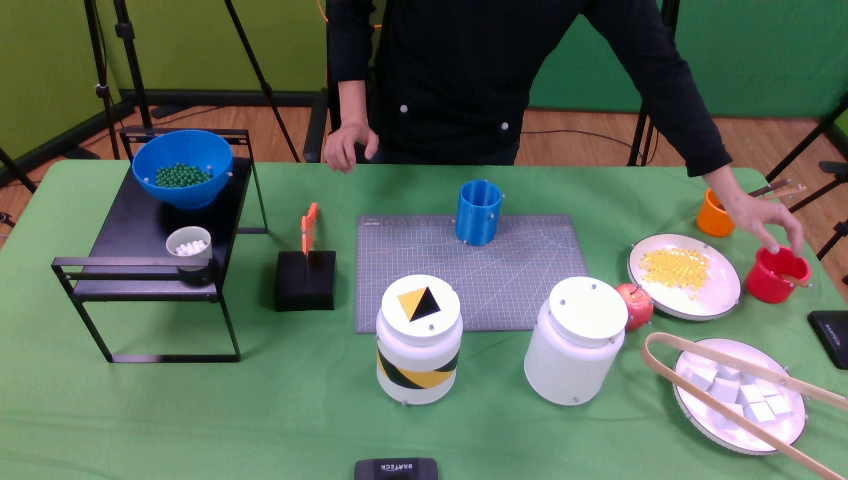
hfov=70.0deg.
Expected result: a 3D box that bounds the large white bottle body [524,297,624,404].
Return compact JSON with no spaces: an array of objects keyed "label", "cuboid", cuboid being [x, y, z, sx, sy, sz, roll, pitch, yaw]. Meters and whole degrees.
[{"label":"large white bottle body","cuboid":[0.235,0.159,0.952,0.131,0.185,0.130,2,47,-2]}]

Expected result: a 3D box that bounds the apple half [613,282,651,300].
[{"label":"apple half","cuboid":[0.356,0.109,1.086,0.081,0.075,0.053,-14,44,-12]}]

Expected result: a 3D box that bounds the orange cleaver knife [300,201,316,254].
[{"label":"orange cleaver knife","cuboid":[-0.221,-0.027,1.160,0.012,0.077,0.210,-1,15,-4]}]

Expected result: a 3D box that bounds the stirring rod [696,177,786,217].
[{"label":"stirring rod","cuboid":[0.648,-0.087,1.244,0.176,0.006,0.014,-25,51,29]}]

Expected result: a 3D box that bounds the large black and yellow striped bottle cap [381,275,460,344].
[{"label":"large black and yellow striped bottle cap","cuboid":[-0.005,0.098,0.874,0.115,0.019,0.114,2,45,-2]}]

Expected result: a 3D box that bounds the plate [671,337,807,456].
[{"label":"plate","cuboid":[0.503,0.254,0.984,0.208,0.039,0.206,2,46,-2]}]

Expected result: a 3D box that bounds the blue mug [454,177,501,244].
[{"label":"blue mug","cuboid":[0.106,-0.067,1.208,0.082,0.106,0.116,5,46,1]}]

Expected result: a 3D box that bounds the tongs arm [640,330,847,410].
[{"label":"tongs arm","cuboid":[0.543,0.225,0.969,0.384,0.026,0.050,22,52,13]}]

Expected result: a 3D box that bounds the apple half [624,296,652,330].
[{"label":"apple half","cuboid":[0.368,0.135,1.060,0.081,0.081,0.032,-11,43,-15]}]

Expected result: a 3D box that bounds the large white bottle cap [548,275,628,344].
[{"label":"large white bottle cap","cuboid":[0.240,0.100,0.890,0.115,0.018,0.114,3,47,-3]}]

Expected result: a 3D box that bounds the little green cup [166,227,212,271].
[{"label":"little green cup","cuboid":[-0.344,0.014,0.895,0.061,0.039,0.061,3,46,-3]}]

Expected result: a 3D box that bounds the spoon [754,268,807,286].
[{"label":"spoon","cuboid":[0.647,0.065,1.100,0.041,0.021,0.194,15,3,10]}]

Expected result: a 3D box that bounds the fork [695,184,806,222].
[{"label":"fork","cuboid":[0.658,-0.074,1.229,0.207,0.019,0.028,-24,33,36]}]

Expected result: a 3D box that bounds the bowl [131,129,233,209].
[{"label":"bowl","cuboid":[-0.381,-0.103,0.978,0.151,0.077,0.150,2,46,-2]}]

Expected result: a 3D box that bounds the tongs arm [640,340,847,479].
[{"label":"tongs arm","cuboid":[0.500,0.277,0.919,0.386,0.028,0.028,34,59,22]}]

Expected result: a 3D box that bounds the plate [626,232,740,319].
[{"label":"plate","cuboid":[0.488,0.071,1.157,0.209,0.038,0.208,3,46,-2]}]

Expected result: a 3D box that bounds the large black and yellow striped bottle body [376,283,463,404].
[{"label":"large black and yellow striped bottle body","cuboid":[-0.010,0.155,0.937,0.131,0.185,0.130,2,47,-2]}]
